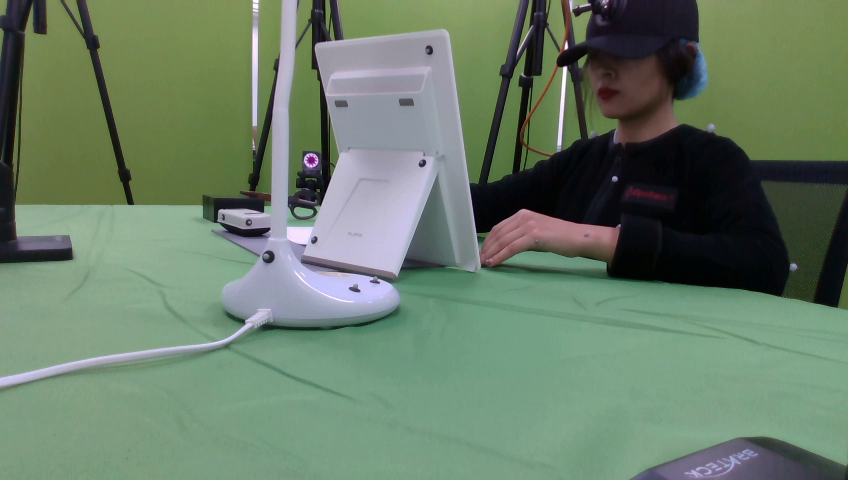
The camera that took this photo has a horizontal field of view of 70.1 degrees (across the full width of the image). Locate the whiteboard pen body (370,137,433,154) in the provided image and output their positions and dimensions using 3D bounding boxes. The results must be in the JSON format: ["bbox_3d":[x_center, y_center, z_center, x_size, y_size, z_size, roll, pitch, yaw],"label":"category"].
[{"bbox_3d":[-0.031,-0.135,0.864,0.017,0.017,0.141,8,7,34],"label":"whiteboard pen body"}]

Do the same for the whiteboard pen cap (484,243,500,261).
[{"bbox_3d":[0.096,0.017,0.867,0.018,0.018,0.033,1,19,-13],"label":"whiteboard pen cap"}]

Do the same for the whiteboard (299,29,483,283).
[{"bbox_3d":[-0.074,-0.082,0.742,0.216,0.305,0.144,9,29,38],"label":"whiteboard"}]

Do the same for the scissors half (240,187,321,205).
[{"bbox_3d":[-0.311,-0.097,1.319,0.176,0.040,0.012,-1,30,-25],"label":"scissors half"}]

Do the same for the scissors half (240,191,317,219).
[{"bbox_3d":[-0.317,-0.079,1.326,0.176,0.040,0.013,18,16,-31],"label":"scissors half"}]

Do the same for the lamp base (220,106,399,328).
[{"bbox_3d":[-0.101,-0.023,0.531,0.160,0.180,0.179,4,10,10],"label":"lamp base"}]

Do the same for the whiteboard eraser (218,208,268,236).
[{"bbox_3d":[-0.309,-0.031,1.044,0.056,0.042,0.112,-2,9,-40],"label":"whiteboard eraser"}]
